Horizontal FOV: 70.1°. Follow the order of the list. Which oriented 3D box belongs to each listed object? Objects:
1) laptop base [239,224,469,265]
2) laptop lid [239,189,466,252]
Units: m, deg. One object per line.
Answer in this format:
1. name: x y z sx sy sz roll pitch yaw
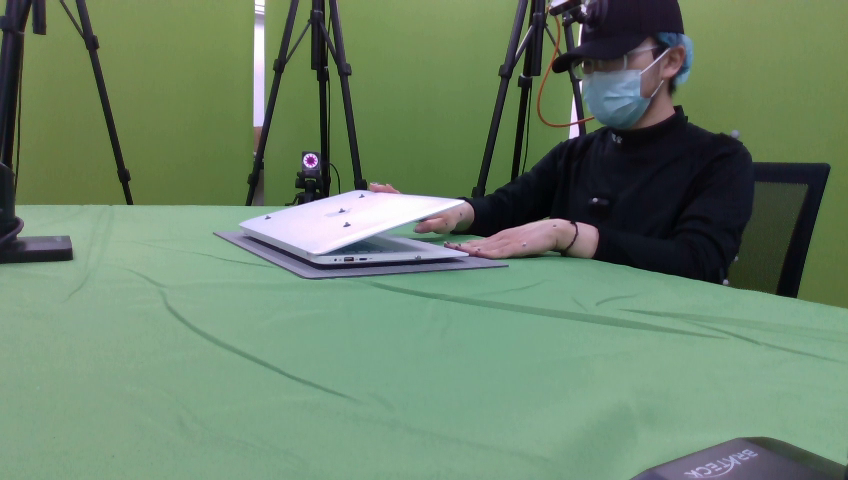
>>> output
1. laptop base: -0.124 0.005 0.936 0.237 0.023 0.352 2 7 -33
2. laptop lid: -0.126 -0.041 0.927 0.243 0.013 0.355 -18 16 -27
